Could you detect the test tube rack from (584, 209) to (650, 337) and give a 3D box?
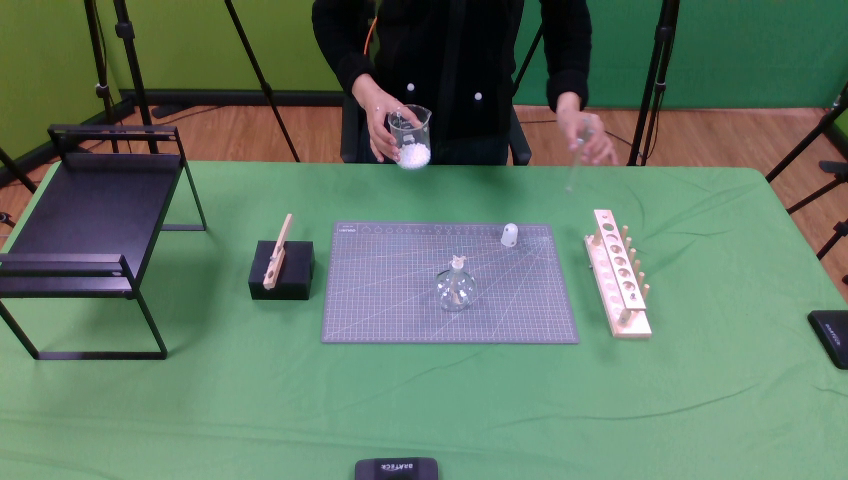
[{"bbox_3d":[0.365,0.056,1.129,0.067,0.085,0.240,1,46,-4],"label":"test tube rack"}]

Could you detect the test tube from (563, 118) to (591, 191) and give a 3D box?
[{"bbox_3d":[0.270,-0.149,1.074,0.017,0.151,0.017,3,42,-3],"label":"test tube"}]

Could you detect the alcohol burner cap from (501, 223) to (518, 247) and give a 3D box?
[{"bbox_3d":[0.172,-0.013,1.206,0.034,0.048,0.033,1,47,-1],"label":"alcohol burner cap"}]

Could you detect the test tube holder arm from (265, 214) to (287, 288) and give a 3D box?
[{"bbox_3d":[-0.268,0.016,1.099,0.013,0.015,0.177,2,45,-4],"label":"test tube holder arm"}]

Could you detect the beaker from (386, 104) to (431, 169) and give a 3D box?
[{"bbox_3d":[-0.023,-0.188,1.109,0.084,0.101,0.073,-23,51,-15],"label":"beaker"}]

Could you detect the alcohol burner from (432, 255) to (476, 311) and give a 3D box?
[{"bbox_3d":[0.055,0.070,1.068,0.078,0.119,0.077,3,45,-3],"label":"alcohol burner"}]

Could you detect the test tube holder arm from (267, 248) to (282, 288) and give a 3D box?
[{"bbox_3d":[-0.262,0.048,1.068,0.010,0.015,0.087,4,45,-3],"label":"test tube holder arm"}]
